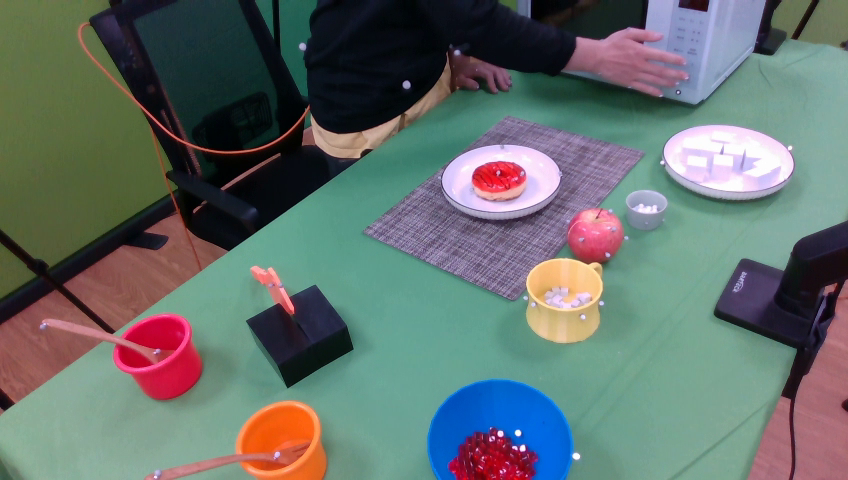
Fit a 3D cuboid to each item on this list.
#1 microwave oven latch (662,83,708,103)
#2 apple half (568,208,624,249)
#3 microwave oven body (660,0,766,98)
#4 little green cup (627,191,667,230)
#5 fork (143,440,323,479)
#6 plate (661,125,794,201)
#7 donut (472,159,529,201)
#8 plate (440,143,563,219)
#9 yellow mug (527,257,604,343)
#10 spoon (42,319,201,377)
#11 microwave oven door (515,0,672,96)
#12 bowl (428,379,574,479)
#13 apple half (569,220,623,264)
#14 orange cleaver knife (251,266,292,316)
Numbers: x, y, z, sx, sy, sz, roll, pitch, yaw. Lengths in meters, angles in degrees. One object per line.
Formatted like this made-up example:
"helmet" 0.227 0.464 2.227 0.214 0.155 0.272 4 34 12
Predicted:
"microwave oven latch" 0.517 -0.296 1.204 0.078 0.029 0.030 27 52 35
"apple half" 0.259 -0.014 0.914 0.080 0.075 0.053 0 36 15
"microwave oven body" 0.472 -0.513 1.317 0.438 0.261 0.327 26 51 34
"little green cup" 0.352 -0.046 0.963 0.061 0.039 0.061 -4 40 4
"fork" -0.190 0.231 0.631 0.028 0.018 0.209 38 14 37
"plate" 0.514 -0.128 1.035 0.207 0.039 0.206 -4 40 4
"donut" 0.132 -0.105 1.043 0.099 0.048 0.098 -5 38 4
"plate" 0.134 -0.098 1.052 0.209 0.038 0.208 -4 40 4
"yellow mug" 0.201 0.072 0.825 0.131 0.064 0.099 -32 46 -27
"spoon" -0.385 0.135 0.779 0.195 0.021 0.041 28 37 -27
"microwave oven door" 0.344 -0.455 1.260 0.353 0.245 0.039 26 51 33
"bowl" 0.082 0.233 0.644 0.151 0.077 0.150 -4 40 4
"apple half" 0.251 0.010 0.884 0.081 0.081 0.032 3 37 12
"orange cleaver knife" -0.221 0.071 0.873 0.012 0.077 0.210 -25 11 -21
